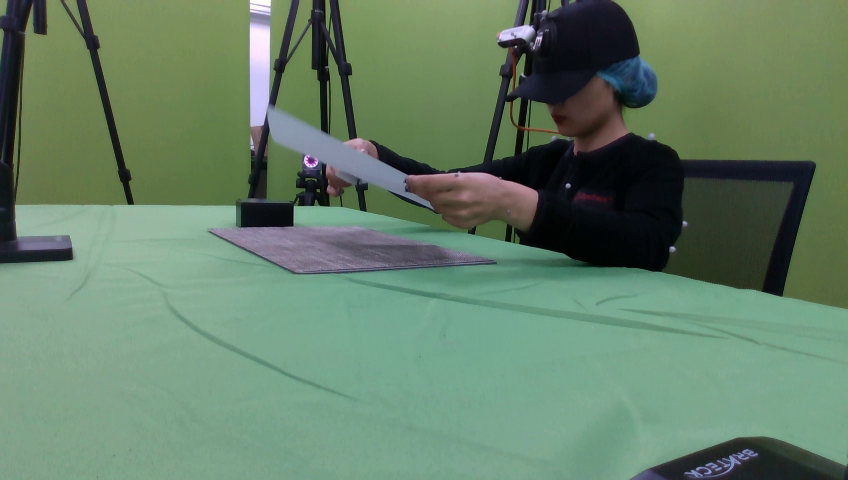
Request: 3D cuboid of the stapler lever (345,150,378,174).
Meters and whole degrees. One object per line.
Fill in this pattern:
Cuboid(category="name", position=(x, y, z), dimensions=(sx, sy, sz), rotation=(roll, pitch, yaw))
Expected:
Cuboid(category="stapler lever", position=(-0.107, -0.138, 1.052), dimensions=(0.027, 0.040, 0.118), rotation=(31, 18, 6))

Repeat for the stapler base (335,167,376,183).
Cuboid(category="stapler base", position=(-0.115, -0.121, 1.055), dimensions=(0.041, 0.024, 0.131), rotation=(31, 12, 6))
